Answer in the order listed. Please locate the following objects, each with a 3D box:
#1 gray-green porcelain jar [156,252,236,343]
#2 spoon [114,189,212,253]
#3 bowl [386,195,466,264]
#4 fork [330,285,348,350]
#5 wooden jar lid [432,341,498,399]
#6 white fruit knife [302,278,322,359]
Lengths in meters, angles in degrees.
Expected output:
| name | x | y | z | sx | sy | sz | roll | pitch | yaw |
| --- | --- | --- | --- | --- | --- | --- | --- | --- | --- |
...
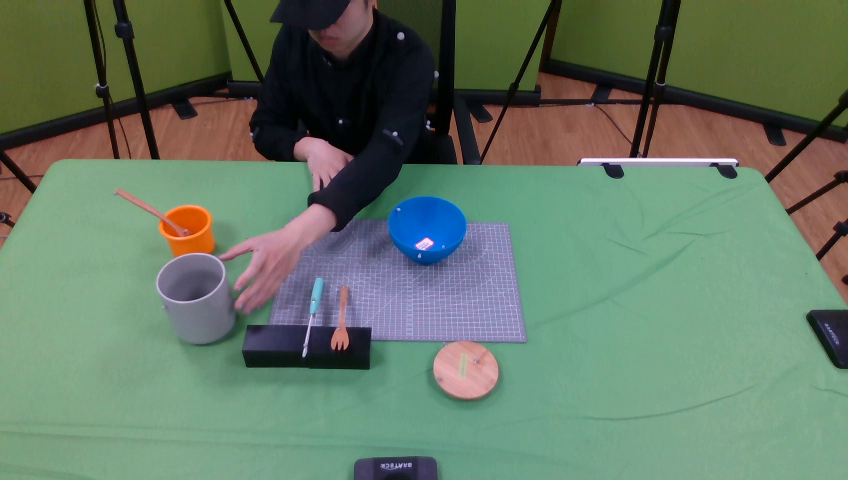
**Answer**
| name | x | y | z | sx | sy | sz | roll | pitch | yaw |
| --- | --- | --- | --- | --- | --- | --- | --- | --- | --- |
| gray-green porcelain jar | -0.371 | 0.100 | 0.999 | 0.106 | 0.127 | 0.105 | 2 | 46 | -2 |
| spoon | -0.475 | -0.037 | 1.109 | 0.021 | 0.195 | 0.041 | -29 | 34 | 32 |
| bowl | 0.002 | -0.007 | 1.162 | 0.151 | 0.077 | 0.150 | 2 | 46 | -2 |
| fork | -0.140 | 0.127 | 1.021 | 0.028 | 0.019 | 0.206 | -5 | 28 | -2 |
| wooden jar lid | 0.067 | 0.216 | 0.997 | 0.108 | 0.021 | 0.107 | 1 | 46 | -1 |
| white fruit knife | -0.189 | 0.126 | 1.020 | 0.016 | 0.027 | 0.206 | 0 | 33 | -3 |
